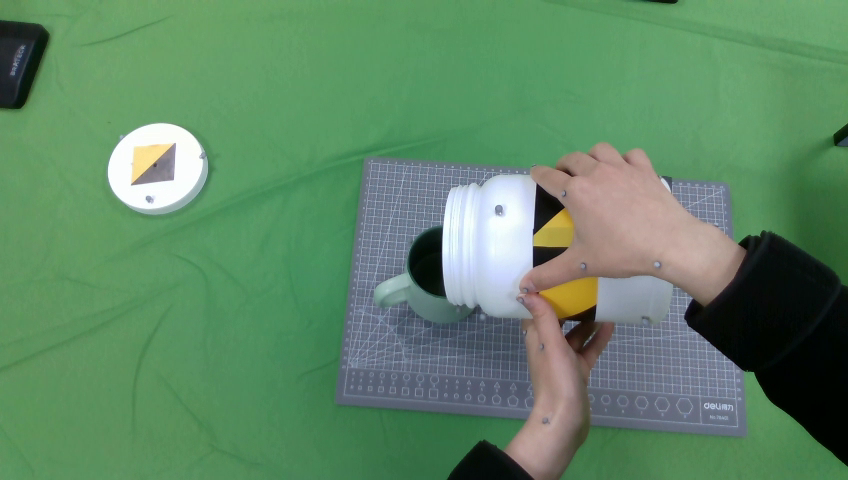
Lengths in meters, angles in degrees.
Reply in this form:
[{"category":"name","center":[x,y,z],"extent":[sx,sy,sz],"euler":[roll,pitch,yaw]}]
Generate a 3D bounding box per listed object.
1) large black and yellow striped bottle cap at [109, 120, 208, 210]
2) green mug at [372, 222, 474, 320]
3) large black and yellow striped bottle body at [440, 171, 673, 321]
[{"category":"large black and yellow striped bottle cap","center":[-0.322,-0.092,0.735],"extent":[0.115,0.019,0.114],"euler":[0,72,-1]},{"category":"green mug","center":[0.004,0.040,0.651],"extent":[0.125,0.105,0.092],"euler":[-20,74,-7]},{"category":"large black and yellow striped bottle body","center":[0.114,0.004,0.536],"extent":[0.183,0.132,0.130],"euler":[1,72,12]}]
